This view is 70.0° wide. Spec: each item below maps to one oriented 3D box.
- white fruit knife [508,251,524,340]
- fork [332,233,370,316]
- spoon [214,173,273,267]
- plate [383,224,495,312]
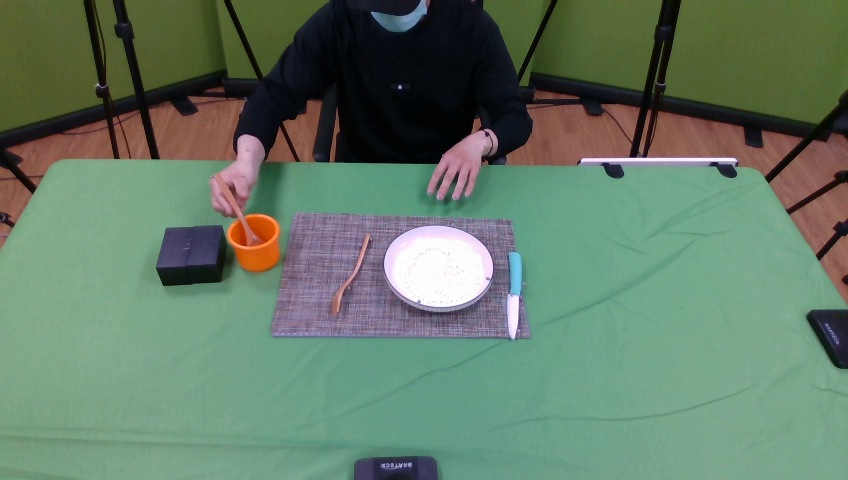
[{"bbox_3d":[0.169,0.098,1.113,0.027,0.016,0.206,-13,43,23],"label":"white fruit knife"},{"bbox_3d":[-0.133,0.058,1.126,0.019,0.028,0.206,35,43,-13],"label":"fork"},{"bbox_3d":[-0.336,-0.037,1.121,0.041,0.194,0.021,-30,10,-27],"label":"spoon"},{"bbox_3d":[0.026,0.055,1.128,0.209,0.038,0.208,2,46,-2],"label":"plate"}]
